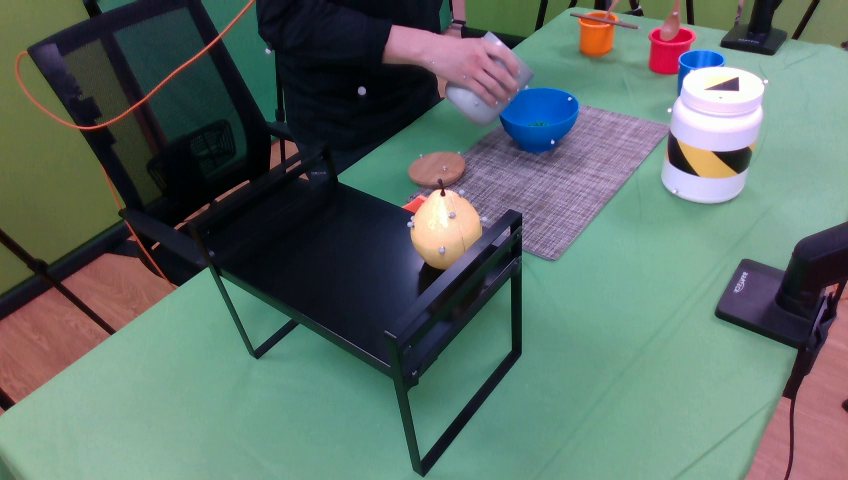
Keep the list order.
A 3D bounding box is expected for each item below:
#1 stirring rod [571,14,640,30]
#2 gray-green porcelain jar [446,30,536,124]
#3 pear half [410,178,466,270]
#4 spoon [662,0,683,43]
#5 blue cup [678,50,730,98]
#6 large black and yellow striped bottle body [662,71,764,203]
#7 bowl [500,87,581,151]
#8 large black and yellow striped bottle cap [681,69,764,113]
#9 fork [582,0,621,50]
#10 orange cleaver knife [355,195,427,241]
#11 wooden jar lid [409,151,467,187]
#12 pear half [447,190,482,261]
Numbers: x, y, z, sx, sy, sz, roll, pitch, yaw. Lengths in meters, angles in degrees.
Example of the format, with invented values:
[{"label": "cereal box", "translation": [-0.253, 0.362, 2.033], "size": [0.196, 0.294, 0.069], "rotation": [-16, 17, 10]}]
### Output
[{"label": "stirring rod", "translation": [0.418, -0.508, 1.404], "size": [0.174, 0.006, 0.014], "rotation": [28, 54, 35]}, {"label": "gray-green porcelain jar", "translation": [0.108, -0.270, 1.022], "size": [0.126, 0.107, 0.105], "rotation": [-49, 39, 18]}, {"label": "pear half", "translation": [0.011, -0.019, 0.654], "size": [0.056, 0.110, 0.076], "rotation": [-16, 37, -9]}, {"label": "spoon", "translation": [0.544, -0.512, 1.267], "size": [0.022, 0.194, 0.041], "rotation": [-15, 37, -34]}, {"label": "blue cup", "translation": [0.542, -0.310, 1.194], "size": [0.092, 0.101, 0.092], "rotation": [-6, 41, 6]}, {"label": "large black and yellow striped bottle body", "translation": [0.464, -0.166, 0.976], "size": [0.131, 0.185, 0.130], "rotation": [-5, 41, 4]}, {"label": "bowl", "translation": [0.220, -0.223, 1.156], "size": [0.151, 0.077, 0.150], "rotation": [-4, 41, 4]}, {"label": "large black and yellow striped bottle cap", "translation": [0.453, -0.229, 0.921], "size": [0.115, 0.019, 0.114], "rotation": [-4, 39, 4]}, {"label": "fork", "translation": [0.446, -0.539, 1.438], "size": [0.207, 0.019, 0.028], "rotation": [-57, 35, 12]}, {"label": "orange cleaver knife", "translation": [-0.037, -0.029, 0.973], "size": [0.210, 0.077, 0.012], "rotation": [-8, 33, 50]}, {"label": "wooden jar lid", "translation": [0.027, -0.131, 1.124], "size": [0.108, 0.021, 0.108], "rotation": [-8, 36, 6]}, {"label": "pear half", "translation": [0.046, -0.020, 0.664], "size": [0.031, 0.088, 0.070], "rotation": [-17, 38, -9]}]
